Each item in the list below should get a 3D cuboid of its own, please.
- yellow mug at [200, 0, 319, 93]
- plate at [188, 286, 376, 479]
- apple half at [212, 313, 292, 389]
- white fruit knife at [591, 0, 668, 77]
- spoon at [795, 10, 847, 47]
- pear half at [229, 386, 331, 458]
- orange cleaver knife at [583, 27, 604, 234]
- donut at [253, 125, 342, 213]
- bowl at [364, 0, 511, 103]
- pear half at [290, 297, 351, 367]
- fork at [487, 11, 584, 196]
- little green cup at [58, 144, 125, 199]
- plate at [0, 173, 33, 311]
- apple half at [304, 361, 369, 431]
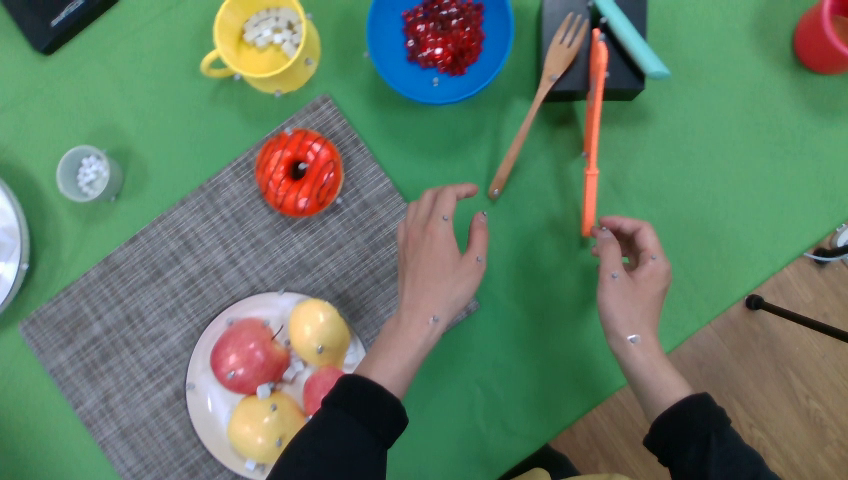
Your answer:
[{"bbox_3d":[-0.186,-0.213,0.668,0.131,0.064,0.100,-26,88,3],"label":"yellow mug"},{"bbox_3d":[-0.154,0.154,0.672,0.209,0.038,0.209,0,89,4],"label":"plate"},{"bbox_3d":[-0.191,0.124,0.657,0.074,0.053,0.081,-31,91,3],"label":"apple half"},{"bbox_3d":[0.182,-0.250,0.624,0.027,0.016,0.207,-33,85,-27],"label":"white fruit knife"},{"bbox_3d":[0.467,-0.201,0.593,0.191,0.022,0.041,30,93,48],"label":"spoon"},{"bbox_3d":[-0.155,0.204,0.657,0.110,0.056,0.076,14,94,-1],"label":"pear half"},{"bbox_3d":[0.176,-0.111,0.639,0.012,0.077,0.213,0,115,8],"label":"orange cleaver knife"},{"bbox_3d":[-0.140,-0.078,0.670,0.099,0.048,0.099,0,91,5],"label":"donut"},{"bbox_3d":[0.015,-0.214,0.651,0.151,0.077,0.151,0,90,3],"label":"bowl"},{"bbox_3d":[-0.117,0.107,0.657,0.070,0.031,0.088,-14,91,23],"label":"pear half"},{"bbox_3d":[0.113,-0.137,0.640,0.028,0.018,0.208,22,111,-5],"label":"fork"},{"bbox_3d":[-0.376,-0.075,0.690,0.061,0.038,0.061,0,89,4],"label":"little green cup"},{"bbox_3d":[-0.547,0.003,0.699,0.207,0.039,0.207,0,89,3],"label":"plate"},{"bbox_3d":[-0.103,0.173,0.653,0.081,0.033,0.081,5,105,19],"label":"apple half"}]
